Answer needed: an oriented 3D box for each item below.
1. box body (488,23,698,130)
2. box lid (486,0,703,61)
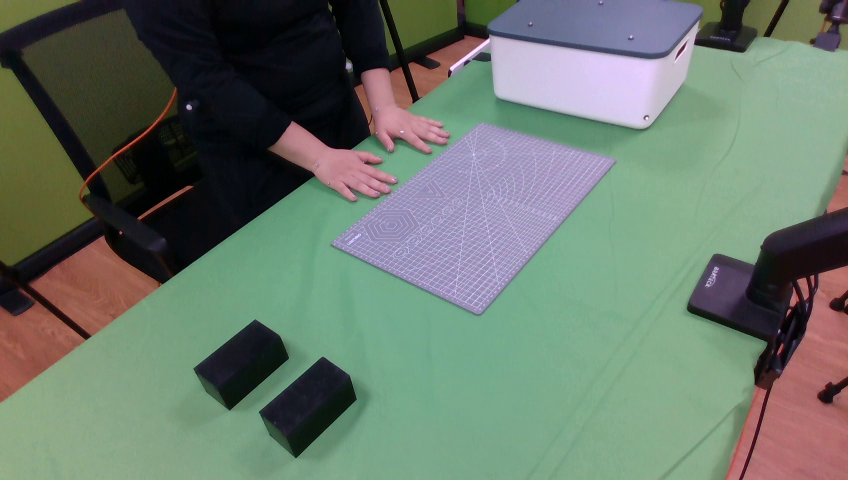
[{"bbox_3d":[0.345,-0.379,1.257,0.361,0.161,0.255,20,48,29],"label":"box body"},{"bbox_3d":[0.338,-0.435,1.208,0.369,0.015,0.264,20,47,29],"label":"box lid"}]
